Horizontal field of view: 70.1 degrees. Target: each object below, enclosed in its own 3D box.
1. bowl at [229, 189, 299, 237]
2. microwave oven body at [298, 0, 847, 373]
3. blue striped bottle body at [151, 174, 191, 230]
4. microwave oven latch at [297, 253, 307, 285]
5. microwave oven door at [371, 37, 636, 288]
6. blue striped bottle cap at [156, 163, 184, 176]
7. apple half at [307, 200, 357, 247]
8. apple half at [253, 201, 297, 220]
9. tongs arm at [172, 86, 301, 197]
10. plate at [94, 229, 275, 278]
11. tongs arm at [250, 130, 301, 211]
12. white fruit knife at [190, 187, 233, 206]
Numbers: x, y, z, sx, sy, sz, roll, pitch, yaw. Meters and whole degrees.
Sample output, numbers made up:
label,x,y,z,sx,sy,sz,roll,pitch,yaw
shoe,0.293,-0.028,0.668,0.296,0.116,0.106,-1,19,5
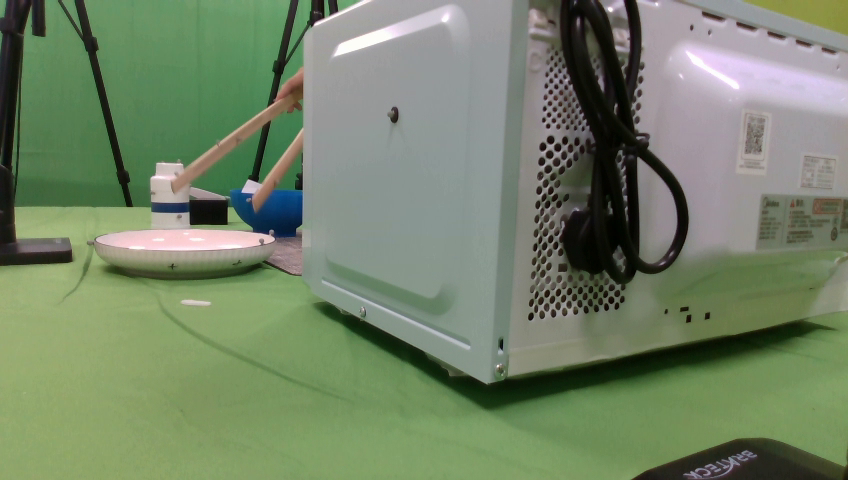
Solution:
label,x,y,z,sx,sy,sz,roll,pitch,yaw
bowl,-0.264,-0.048,1.066,0.151,0.077,0.151,2,8,0
microwave oven body,0.151,-0.055,0.542,0.444,0.260,0.324,-2,7,-33
blue striped bottle body,-0.439,-0.072,1.052,0.063,0.120,0.063,2,8,0
microwave oven latch,-0.081,0.027,0.582,0.079,0.029,0.030,-1,7,-32
microwave oven door,0.109,-0.080,0.686,0.358,0.243,0.039,-2,9,-33
blue striped bottle cap,-0.438,-0.122,1.045,0.044,0.020,0.044,4,6,0
apple half,-0.135,-0.024,0.941,0.053,0.074,0.081,12,8,39
apple half,-0.264,-0.053,1.066,0.081,0.033,0.081,1,8,0
tongs arm,-0.284,-0.180,1.024,0.050,0.026,0.385,11,39,15
plate,-0.291,0.016,0.750,0.208,0.039,0.207,2,7,0
tongs arm,-0.217,-0.168,1.011,0.028,0.028,0.387,2,38,9
white fruit knife,-0.413,-0.081,1.270,0.208,0.027,0.016,17,13,-41
